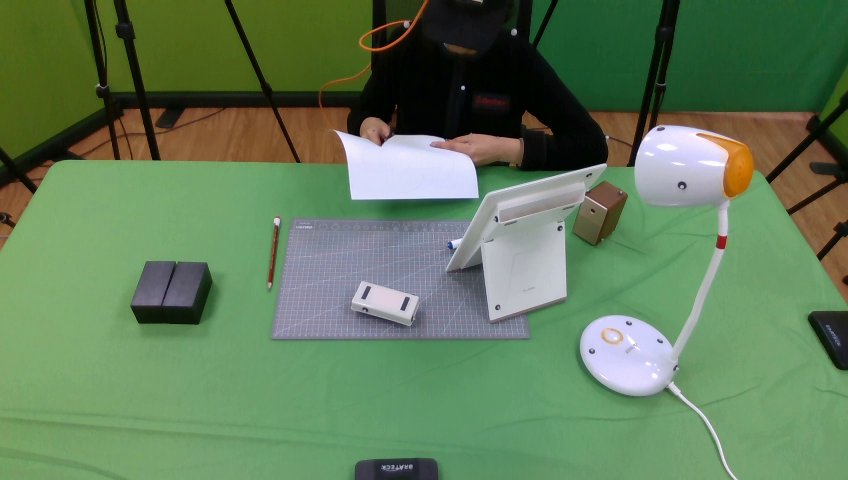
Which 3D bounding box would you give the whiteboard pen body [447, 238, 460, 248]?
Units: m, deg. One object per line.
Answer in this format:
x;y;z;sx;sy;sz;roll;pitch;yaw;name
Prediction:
0.112;-0.006;1.204;0.141;0.017;0.017;-14;49;-18;whiteboard pen body

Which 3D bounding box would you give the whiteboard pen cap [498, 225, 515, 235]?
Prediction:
0.166;-0.019;1.222;0.033;0.018;0.018;-14;49;-19;whiteboard pen cap

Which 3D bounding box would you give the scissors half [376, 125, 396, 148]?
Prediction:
-0.082;-0.216;1.288;0.013;0.040;0.174;-1;20;10;scissors half

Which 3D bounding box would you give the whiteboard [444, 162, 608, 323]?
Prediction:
0.186;0.025;1.029;0.217;0.306;0.143;-14;68;-17;whiteboard

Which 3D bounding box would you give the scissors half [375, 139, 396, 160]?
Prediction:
-0.082;-0.196;1.292;0.013;0.040;0.175;5;3;9;scissors half

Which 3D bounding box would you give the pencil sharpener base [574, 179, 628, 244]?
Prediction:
0.355;-0.057;1.217;0.076;0.107;0.061;-33;56;-31;pencil sharpener base

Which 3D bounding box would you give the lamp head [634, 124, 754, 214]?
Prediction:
0.351;-0.089;0.775;0.112;0.113;0.122;-30;30;-28;lamp head

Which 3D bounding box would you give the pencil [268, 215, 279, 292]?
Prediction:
-0.290;0.022;1.164;0.012;0.012;0.192;-2;48;-6;pencil

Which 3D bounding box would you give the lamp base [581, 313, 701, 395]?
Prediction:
0.361;0.144;0.972;0.178;0.181;0.160;34;53;23;lamp base

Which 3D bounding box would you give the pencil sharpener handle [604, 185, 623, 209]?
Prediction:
0.390;-0.091;1.235;0.030;0.068;0.036;-33;69;-31;pencil sharpener handle

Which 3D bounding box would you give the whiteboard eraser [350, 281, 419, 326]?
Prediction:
-0.069;0.113;1.065;0.112;0.042;0.055;14;46;9;whiteboard eraser
